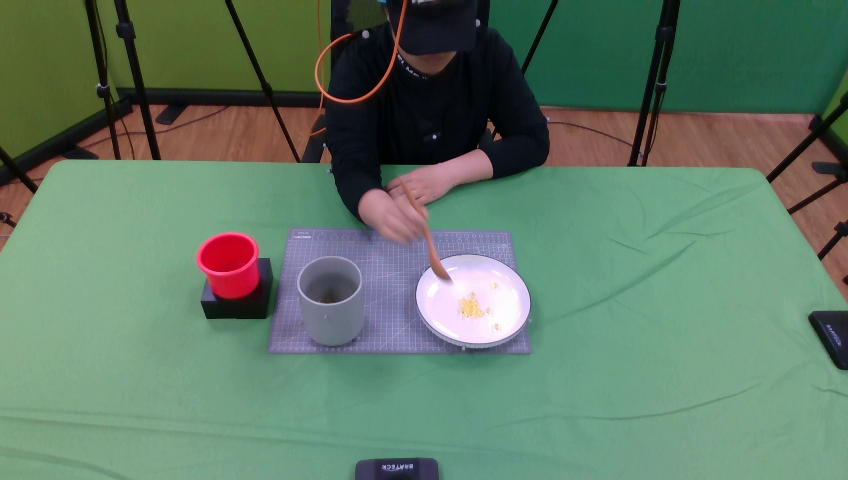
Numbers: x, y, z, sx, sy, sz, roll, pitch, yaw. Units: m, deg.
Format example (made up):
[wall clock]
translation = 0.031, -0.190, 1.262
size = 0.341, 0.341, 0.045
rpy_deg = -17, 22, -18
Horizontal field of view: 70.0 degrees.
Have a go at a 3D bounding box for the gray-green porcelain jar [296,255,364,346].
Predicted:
[gray-green porcelain jar]
translation = -0.153, 0.106, 1.008
size = 0.106, 0.127, 0.105
rpy_deg = 2, 46, -2

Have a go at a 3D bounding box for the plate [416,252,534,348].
[plate]
translation = 0.090, 0.109, 1.084
size = 0.208, 0.039, 0.206
rpy_deg = 2, 46, -2

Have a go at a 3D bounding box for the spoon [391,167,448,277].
[spoon]
translation = -0.008, -0.027, 0.951
size = 0.021, 0.194, 0.041
rpy_deg = -25, 9, -20
